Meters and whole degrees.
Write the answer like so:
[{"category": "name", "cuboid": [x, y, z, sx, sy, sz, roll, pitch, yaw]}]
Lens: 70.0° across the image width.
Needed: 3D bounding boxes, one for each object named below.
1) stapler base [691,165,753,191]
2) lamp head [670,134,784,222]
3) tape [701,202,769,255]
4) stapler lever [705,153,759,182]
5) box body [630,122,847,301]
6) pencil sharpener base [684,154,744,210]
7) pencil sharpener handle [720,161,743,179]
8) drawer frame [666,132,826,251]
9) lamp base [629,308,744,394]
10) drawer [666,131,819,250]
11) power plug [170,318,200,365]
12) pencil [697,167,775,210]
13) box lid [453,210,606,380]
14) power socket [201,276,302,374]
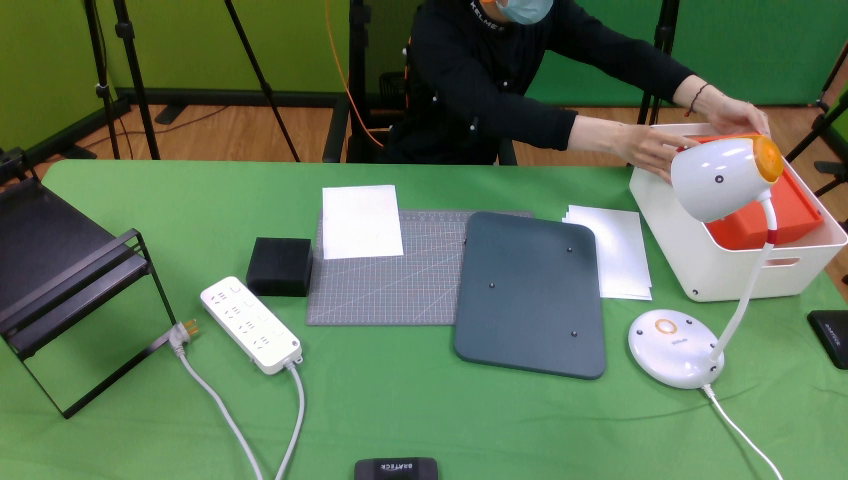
[{"category": "stapler base", "cuboid": [0.578, -0.124, 1.164, 0.131, 0.024, 0.041, 7, 59, -14]}, {"category": "lamp head", "cuboid": [0.422, -0.089, 0.829, 0.113, 0.123, 0.112, 8, 74, -32]}, {"category": "tape", "cuboid": [0.631, -0.024, 1.234, 0.117, 0.053, 0.116, 8, 38, -6]}, {"category": "stapler lever", "cuboid": [0.586, -0.137, 1.145, 0.118, 0.040, 0.026, 7, 59, -14]}, {"category": "box body", "cuboid": [0.594, -0.062, 1.202, 0.254, 0.161, 0.361, -4, 47, -7]}, {"category": "pencil sharpener base", "cuboid": [0.619, -0.124, 1.293, 0.077, 0.107, 0.061, -8, 47, -13]}, {"category": "pencil sharpener handle", "cuboid": [0.667, -0.147, 1.300, 0.031, 0.068, 0.036, -8, 81, -13]}, {"category": "drawer frame", "cuboid": [0.590, -0.093, 1.121, 0.202, 0.083, 0.212, -9, 62, -23]}, {"category": "lamp base", "cuboid": [0.445, 0.139, 0.987, 0.161, 0.181, 0.178, -18, 53, -20]}, {"category": "drawer", "cuboid": [0.588, -0.095, 1.125, 0.195, 0.073, 0.210, -8, 62, -22]}, {"category": "power plug", "cuboid": [-0.392, 0.167, 1.014, 0.052, 0.035, 0.072, -31, 89, -23]}, {"category": "pencil", "cuboid": [0.593, -0.098, 1.150, 0.194, 0.012, 0.012, 23, 44, -15]}, {"category": "box lid", "cuboid": [0.200, 0.085, 1.138, 0.263, 0.015, 0.369, 8, 47, 3]}, {"category": "power socket", "cuboid": [-0.298, 0.141, 1.034, 0.072, 0.033, 0.225, -34, 58, -30]}]
